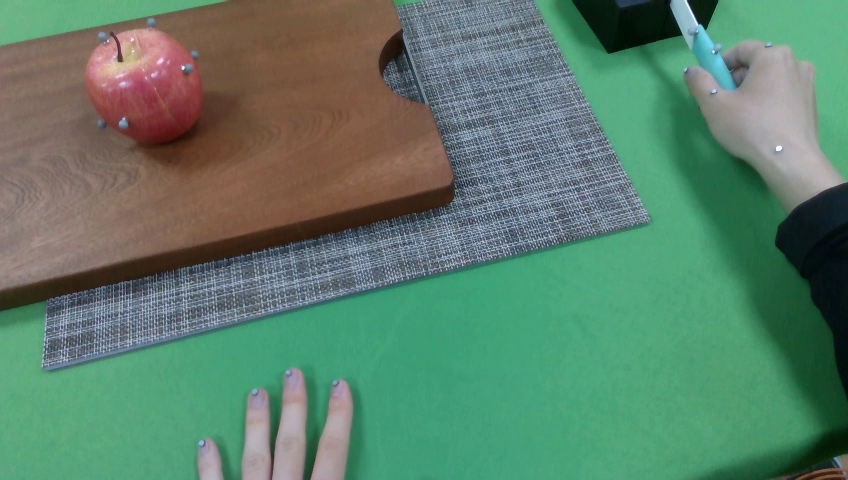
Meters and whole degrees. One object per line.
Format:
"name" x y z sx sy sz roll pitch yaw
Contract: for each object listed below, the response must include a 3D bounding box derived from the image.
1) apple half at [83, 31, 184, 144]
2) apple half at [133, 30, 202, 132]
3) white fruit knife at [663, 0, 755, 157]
"apple half" -0.225 -0.110 0.463 0.053 0.075 0.080 -24 64 -7
"apple half" -0.190 -0.126 0.470 0.033 0.082 0.080 -25 61 -8
"white fruit knife" 0.227 -0.166 0.510 0.016 0.027 0.206 -16 74 -7
